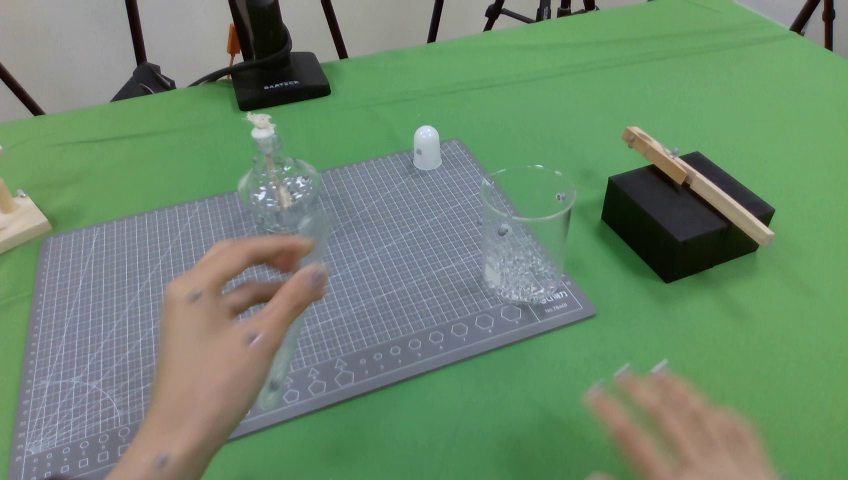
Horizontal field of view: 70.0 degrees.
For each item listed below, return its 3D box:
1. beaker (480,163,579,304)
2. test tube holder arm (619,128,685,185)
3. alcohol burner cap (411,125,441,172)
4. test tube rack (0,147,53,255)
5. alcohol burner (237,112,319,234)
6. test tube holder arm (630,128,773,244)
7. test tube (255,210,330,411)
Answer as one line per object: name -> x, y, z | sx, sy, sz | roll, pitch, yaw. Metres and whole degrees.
beaker -> 0.081, -0.003, 0.503 | 0.083, 0.101, 0.074 | 28, 50, 31
test tube holder arm -> 0.216, -0.080, 0.572 | 0.010, 0.015, 0.087 | -12, 42, -22
alcohol burner cap -> 0.001, -0.103, 0.662 | 0.034, 0.048, 0.033 | -1, 42, 2
test tube rack -> -0.487, 0.003, 0.544 | 0.242, 0.086, 0.066 | -34, 50, -30
alcohol burner -> -0.142, -0.065, 0.574 | 0.078, 0.120, 0.077 | -3, 41, 3
test tube holder arm -> 0.240, -0.054, 0.544 | 0.013, 0.015, 0.176 | -12, 42, -23
test tube -> -0.081, 0.048, 0.364 | 0.017, 0.151, 0.017 | 16, 28, -9
